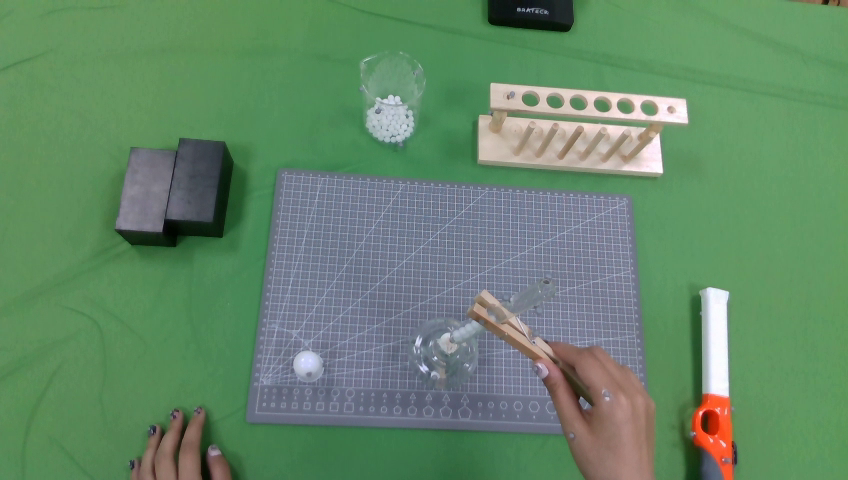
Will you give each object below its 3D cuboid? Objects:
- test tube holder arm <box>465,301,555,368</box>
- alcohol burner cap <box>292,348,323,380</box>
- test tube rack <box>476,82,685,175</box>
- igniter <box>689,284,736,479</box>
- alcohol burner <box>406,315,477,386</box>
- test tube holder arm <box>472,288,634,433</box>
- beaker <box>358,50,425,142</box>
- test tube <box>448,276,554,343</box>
[{"bbox_3d":[0.072,0.079,0.503,0.088,0.015,0.010,34,60,-10],"label":"test tube holder arm"},{"bbox_3d":[-0.127,0.132,0.654,0.034,0.048,0.033,2,72,-6],"label":"alcohol burner cap"},{"bbox_3d":[0.192,-0.138,0.761,0.243,0.085,0.066,3,71,-5],"label":"test tube rack"},{"bbox_3d":[0.332,0.186,0.700,0.057,0.025,0.275,13,71,-13],"label":"igniter"},{"bbox_3d":[0.021,0.113,0.640,0.078,0.119,0.077,2,69,-6],"label":"alcohol burner"},{"bbox_3d":[0.110,0.103,0.511,0.179,0.015,0.013,41,60,-6],"label":"test tube holder arm"},{"bbox_3d":[-0.044,-0.172,0.738,0.084,0.101,0.074,31,70,5],"label":"beaker"},{"bbox_3d":[0.058,0.061,0.499,0.017,0.150,0.017,11,63,-22],"label":"test tube"}]
